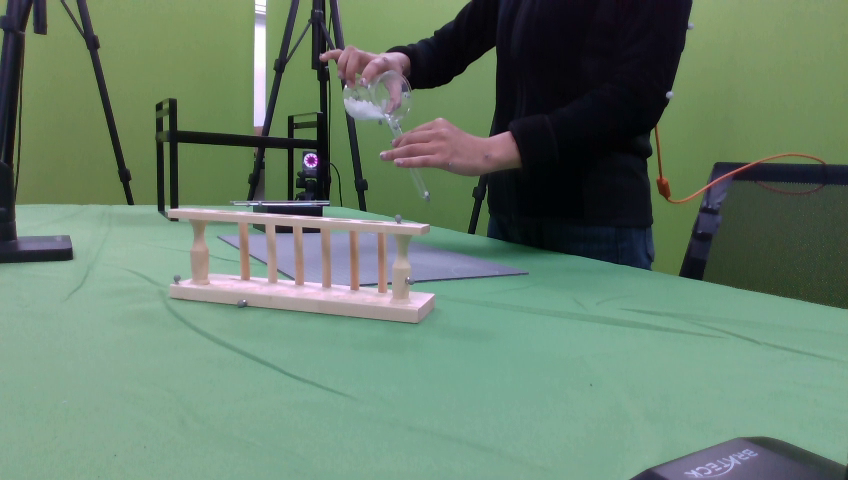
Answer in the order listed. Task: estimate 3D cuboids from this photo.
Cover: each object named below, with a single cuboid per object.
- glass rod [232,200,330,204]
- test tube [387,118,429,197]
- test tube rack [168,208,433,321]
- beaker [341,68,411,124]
[{"bbox_3d":[-0.266,-0.072,1.146,0.201,0.008,0.008,-4,10,-40],"label":"glass rod"},{"bbox_3d":[-0.025,-0.125,0.910,0.017,0.149,0.017,-19,-27,-10],"label":"test tube"},{"bbox_3d":[-0.115,0.017,0.574,0.242,0.085,0.067,4,8,13],"label":"test tube rack"},{"bbox_3d":[-0.080,-0.228,0.972,0.074,0.084,0.100,-4,9,-41],"label":"beaker"}]
